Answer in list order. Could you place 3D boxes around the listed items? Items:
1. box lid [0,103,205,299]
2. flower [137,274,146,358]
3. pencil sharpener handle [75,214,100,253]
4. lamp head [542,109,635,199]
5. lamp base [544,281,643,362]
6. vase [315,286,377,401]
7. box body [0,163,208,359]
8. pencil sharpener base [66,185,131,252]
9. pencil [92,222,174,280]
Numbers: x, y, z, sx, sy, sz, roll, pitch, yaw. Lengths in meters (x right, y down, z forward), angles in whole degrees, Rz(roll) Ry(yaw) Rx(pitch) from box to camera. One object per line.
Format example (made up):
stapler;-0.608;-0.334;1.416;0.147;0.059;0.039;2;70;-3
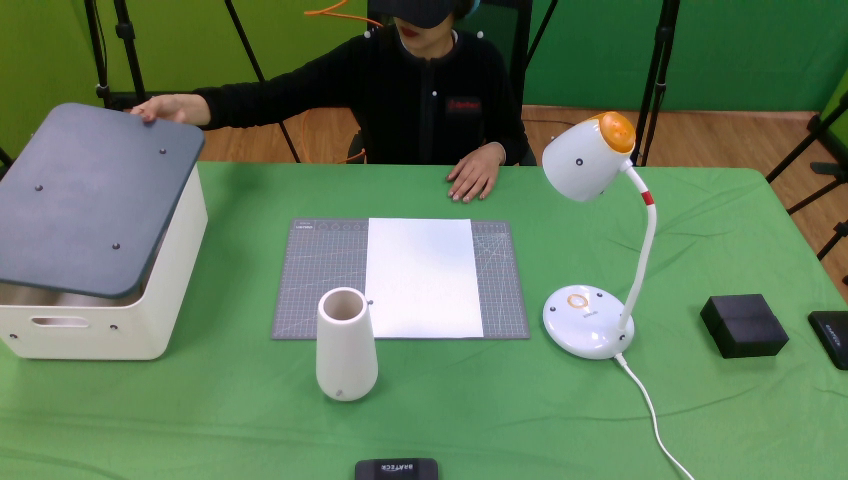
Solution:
box lid;-0.526;-0.078;0.958;0.263;0.015;0.369;9;51;-5
flower;-0.505;0.074;1.095;0.044;0.038;0.359;-40;42;9
pencil sharpener handle;-0.589;-0.011;1.061;0.036;0.068;0.030;-6;43;1
lamp head;0.253;-0.131;0.893;0.113;0.123;0.112;10;66;-24
lamp base;0.304;0.095;1.014;0.161;0.181;0.178;-24;54;-24
vase;-0.119;0.159;0.911;0.098;0.201;0.097;2;47;-2
box body;-0.541;0.021;1.042;0.254;0.161;0.361;1;46;-3
pencil sharpener base;-0.593;-0.036;1.107;0.061;0.107;0.076;-3;43;-1
pencil;-0.548;0.016;1.152;0.012;0.012;0.193;23;43;17
